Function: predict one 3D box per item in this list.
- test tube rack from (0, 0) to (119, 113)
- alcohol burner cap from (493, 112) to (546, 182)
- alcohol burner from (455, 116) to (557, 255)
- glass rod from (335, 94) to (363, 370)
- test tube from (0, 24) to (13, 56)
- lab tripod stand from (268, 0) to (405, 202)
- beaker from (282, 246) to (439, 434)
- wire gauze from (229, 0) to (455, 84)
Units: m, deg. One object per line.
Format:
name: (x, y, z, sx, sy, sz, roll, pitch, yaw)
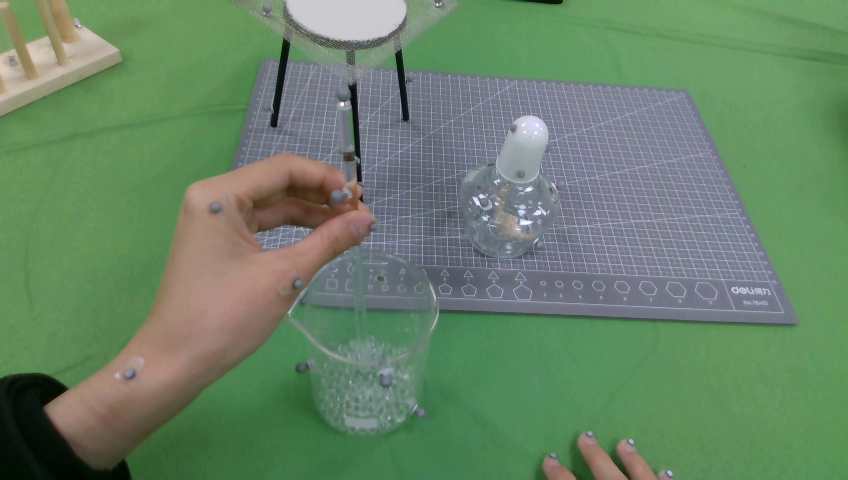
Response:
test tube rack: (-0.392, -0.152, 0.502, 0.066, 0.086, 0.242, 34, 54, 20)
alcohol burner cap: (0.068, -0.066, 0.421, 0.034, 0.048, 0.033, 3, 54, -4)
alcohol burner: (0.064, -0.044, 0.449, 0.078, 0.120, 0.077, 5, 48, -5)
glass rod: (-0.039, 0.011, 0.330, 0.008, 0.201, 0.008, 2, 43, -1)
test tube: (-0.376, -0.220, 0.495, 0.017, 0.151, 0.017, 2, 47, -2)
lab tripod stand: (-0.064, -0.126, 0.488, 0.148, 0.132, 0.147, 5, 50, -6)
beaker: (-0.037, 0.064, 0.358, 0.084, 0.101, 0.073, -5, 50, -10)
wire gauze: (-0.059, -0.169, 0.436, 0.124, 0.011, 0.121, 35, 55, 19)
